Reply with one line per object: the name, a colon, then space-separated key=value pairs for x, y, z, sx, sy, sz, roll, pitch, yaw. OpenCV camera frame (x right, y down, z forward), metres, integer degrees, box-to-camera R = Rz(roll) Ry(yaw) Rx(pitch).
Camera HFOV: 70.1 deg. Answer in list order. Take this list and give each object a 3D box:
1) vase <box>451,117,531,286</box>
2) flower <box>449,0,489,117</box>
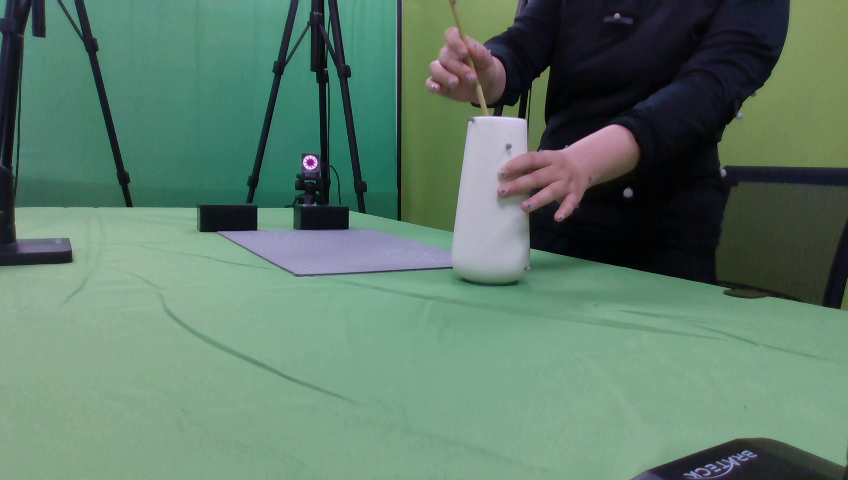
vase: x=0.084 y=-0.047 z=0.737 sx=0.098 sy=0.200 sz=0.098 roll=1 pitch=6 yaw=0
flower: x=0.054 y=-0.220 z=0.727 sx=0.044 sy=0.362 sz=0.038 roll=-13 pitch=13 yaw=25
